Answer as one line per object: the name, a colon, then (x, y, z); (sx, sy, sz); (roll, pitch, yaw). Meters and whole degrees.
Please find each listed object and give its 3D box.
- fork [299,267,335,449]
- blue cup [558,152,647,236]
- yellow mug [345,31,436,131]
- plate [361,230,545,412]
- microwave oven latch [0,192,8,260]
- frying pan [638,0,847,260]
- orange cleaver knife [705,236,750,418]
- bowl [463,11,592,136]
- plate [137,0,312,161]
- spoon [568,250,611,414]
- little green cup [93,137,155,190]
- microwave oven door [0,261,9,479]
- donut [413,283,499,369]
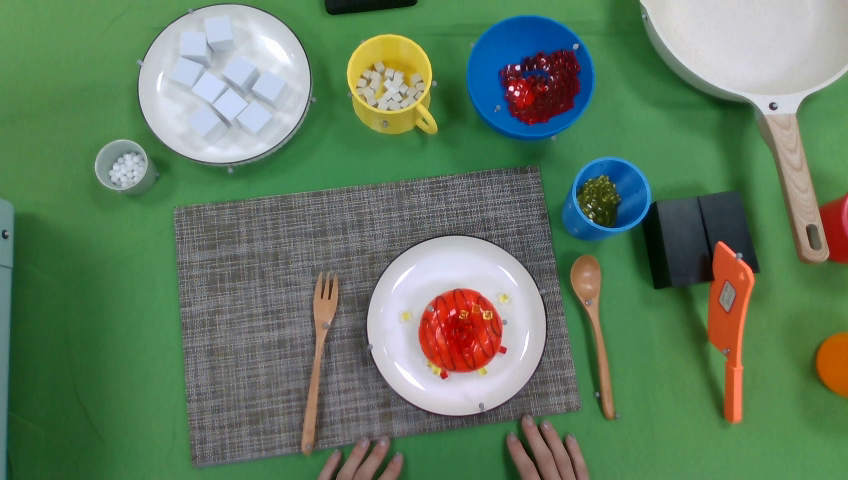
fork: (-0.126, 0.134, 0.699); (0.028, 0.018, 0.206); (8, 79, -13)
blue cup: (0.198, -0.044, 0.703); (0.093, 0.100, 0.092); (1, 79, -3)
yellow mug: (-0.032, -0.182, 0.736); (0.100, 0.064, 0.130); (-44, 85, -8)
plate: (0.033, 0.092, 0.703); (0.209, 0.038, 0.208); (0, 81, -2)
microwave oven latch: (-0.493, -0.017, 0.687); (0.030, 0.029, 0.079); (-2, 81, -3)
frying pan: (0.410, -0.210, 0.737); (0.307, 0.103, 0.484); (-2, 73, -1)
orange cleaver knife: (0.343, 0.102, 0.694); (0.012, 0.076, 0.212); (-8, 109, -3)
bowl: (0.119, -0.189, 0.737); (0.151, 0.077, 0.151); (0, 81, -2)
plate: (-0.240, -0.194, 0.745); (0.208, 0.039, 0.207); (0, 80, -2)
spoon: (0.201, 0.108, 0.717); (0.042, 0.021, 0.193); (-4, 80, -23)
little green cup: (-0.354, -0.088, 0.721); (0.061, 0.039, 0.061); (0, 82, -2)
microwave oven door: (-0.475, 0.181, 0.552); (0.039, 0.244, 0.354); (-5, 80, -2)
donut: (0.037, 0.099, 0.690); (0.099, 0.048, 0.099); (0, 84, -1)
